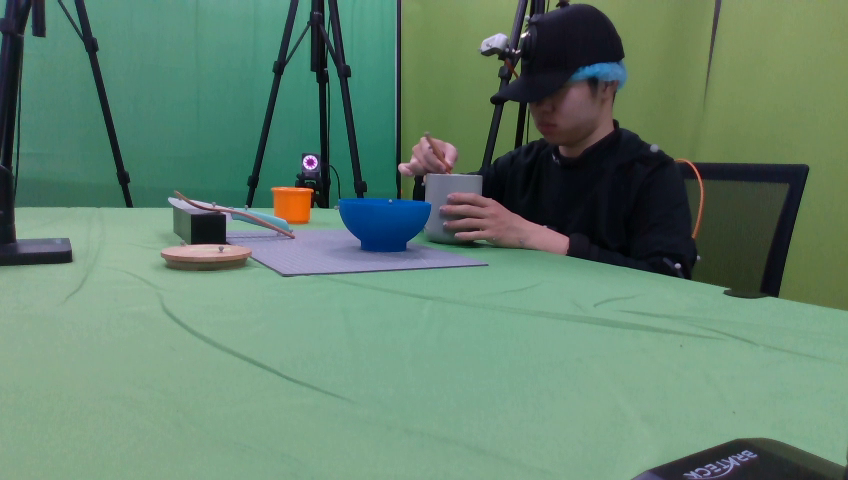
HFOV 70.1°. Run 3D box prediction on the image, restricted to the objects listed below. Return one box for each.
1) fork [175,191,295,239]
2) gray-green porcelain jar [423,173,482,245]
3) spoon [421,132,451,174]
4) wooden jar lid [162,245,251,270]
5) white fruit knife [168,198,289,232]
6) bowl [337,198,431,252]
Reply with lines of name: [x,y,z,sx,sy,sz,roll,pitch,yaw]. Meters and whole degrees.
fork: [-0.305,-0.039,0.993,0.208,0.018,0.028,20,-9,-34]
gray-green porcelain jar: [0.052,-0.059,1.116,0.106,0.126,0.106,3,8,0]
spoon: [0.044,-0.113,1.096,0.021,0.194,0.041,-26,18,3]
wooden jar lid: [-0.278,0.022,0.777,0.108,0.020,0.108,2,6,0]
white fruit knife: [-0.329,-0.044,1.036,0.208,0.027,0.016,14,-1,-32]
bowl: [-0.066,-0.024,0.967,0.151,0.077,0.151,3,7,0]
